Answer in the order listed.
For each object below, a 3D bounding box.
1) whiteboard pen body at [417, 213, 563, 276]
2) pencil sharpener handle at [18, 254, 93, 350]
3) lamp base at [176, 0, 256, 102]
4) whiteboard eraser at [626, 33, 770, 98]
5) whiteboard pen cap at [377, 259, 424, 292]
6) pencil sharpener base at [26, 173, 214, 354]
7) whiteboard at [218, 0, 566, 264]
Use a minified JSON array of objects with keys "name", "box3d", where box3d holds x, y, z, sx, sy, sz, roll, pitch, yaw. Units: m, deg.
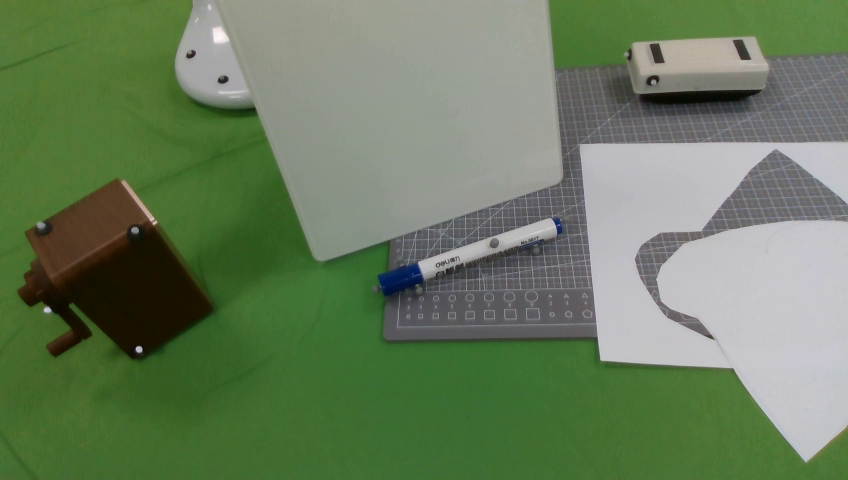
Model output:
[{"name":"whiteboard pen body","box3d":[0.038,0.007,0.456,0.141,0.017,0.017,-18,53,-6]},{"name":"pencil sharpener handle","box3d":[-0.246,0.043,0.394,0.030,0.068,0.035,-37,45,-19]},{"name":"lamp base","box3d":[-0.195,-0.252,0.581,0.177,0.182,0.160,34,63,30]},{"name":"whiteboard eraser","box3d":[0.244,-0.157,0.547,0.112,0.042,0.055,0,54,6]},{"name":"whiteboard pen cap","box3d":[-0.017,0.026,0.449,0.033,0.018,0.018,-19,53,-7]},{"name":"pencil sharpener base","box3d":[-0.208,0.021,0.423,0.076,0.108,0.061,-36,58,-19]},{"name":"whiteboard","box3d":[-0.031,-0.173,0.462,0.217,0.308,0.142,-18,34,-7]}]
